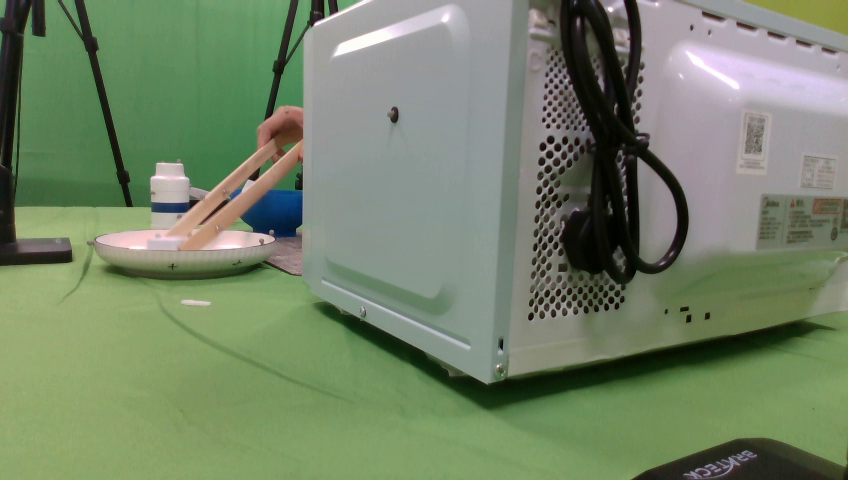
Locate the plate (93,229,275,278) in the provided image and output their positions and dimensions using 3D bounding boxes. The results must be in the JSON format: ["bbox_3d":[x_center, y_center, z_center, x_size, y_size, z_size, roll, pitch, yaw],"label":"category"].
[{"bbox_3d":[-0.291,0.016,0.750,0.208,0.039,0.207,2,7,0],"label":"plate"}]

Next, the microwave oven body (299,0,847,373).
[{"bbox_3d":[0.151,-0.055,0.542,0.444,0.260,0.324,-2,7,-33],"label":"microwave oven body"}]

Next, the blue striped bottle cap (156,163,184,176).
[{"bbox_3d":[-0.438,-0.122,1.045,0.044,0.020,0.044,5,6,0],"label":"blue striped bottle cap"}]

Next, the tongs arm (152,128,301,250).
[{"bbox_3d":[-0.256,-0.082,0.858,0.050,0.026,0.384,1,30,11],"label":"tongs arm"}]

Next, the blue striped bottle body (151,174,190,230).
[{"bbox_3d":[-0.439,-0.071,1.052,0.063,0.120,0.063,2,8,0],"label":"blue striped bottle body"}]

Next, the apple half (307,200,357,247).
[{"bbox_3d":[-0.135,-0.024,0.941,0.053,0.074,0.081,13,9,39],"label":"apple half"}]

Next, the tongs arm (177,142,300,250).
[{"bbox_3d":[-0.233,-0.080,0.852,0.028,0.028,0.388,0,30,16],"label":"tongs arm"}]

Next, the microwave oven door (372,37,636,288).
[{"bbox_3d":[0.110,-0.080,0.686,0.358,0.243,0.039,-2,9,-33],"label":"microwave oven door"}]

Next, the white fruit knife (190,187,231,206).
[{"bbox_3d":[-0.413,-0.081,1.270,0.208,0.027,0.016,17,13,-41],"label":"white fruit knife"}]

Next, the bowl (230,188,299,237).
[{"bbox_3d":[-0.265,-0.048,1.066,0.151,0.077,0.151,2,7,0],"label":"bowl"}]

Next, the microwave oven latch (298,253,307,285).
[{"bbox_3d":[-0.081,0.027,0.582,0.079,0.029,0.030,-1,7,-33],"label":"microwave oven latch"}]

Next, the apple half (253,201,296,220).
[{"bbox_3d":[-0.264,-0.053,1.066,0.081,0.033,0.081,2,8,0],"label":"apple half"}]
